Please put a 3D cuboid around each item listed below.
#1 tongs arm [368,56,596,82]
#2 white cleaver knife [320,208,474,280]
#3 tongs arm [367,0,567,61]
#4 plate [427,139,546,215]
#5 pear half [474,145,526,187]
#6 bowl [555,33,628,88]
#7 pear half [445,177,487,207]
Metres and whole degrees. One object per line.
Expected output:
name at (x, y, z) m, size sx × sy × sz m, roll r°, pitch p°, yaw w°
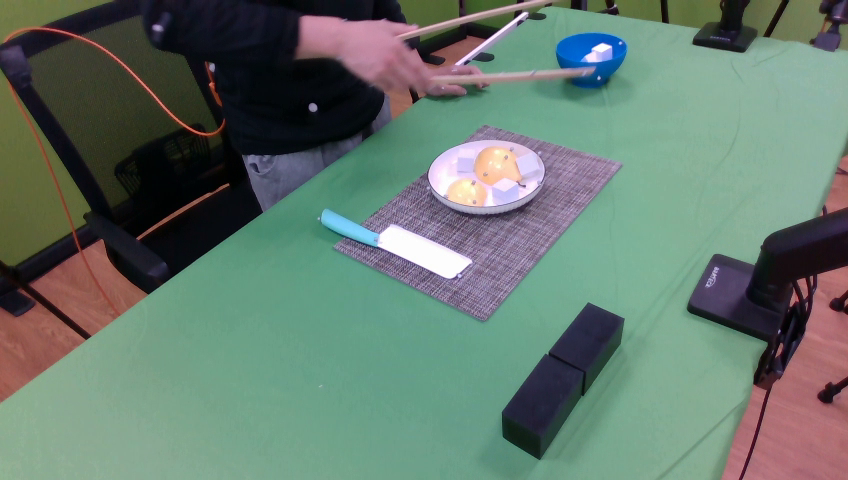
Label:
tongs arm at (0.102, -0.285, 0.988) m, size 0.386 × 0.050 × 0.026 m, roll -9°, pitch -3°, yaw -15°
white cleaver knife at (-0.053, 0.001, 0.978) m, size 0.284 × 0.021 × 0.066 m, roll 23°, pitch 40°, yaw 26°
tongs arm at (0.085, -0.357, 0.993) m, size 0.389 × 0.028 × 0.027 m, roll -20°, pitch 3°, yaw -16°
plate at (0.109, -0.107, 1.059) m, size 0.207 × 0.039 × 0.206 m, roll -4°, pitch 41°, yaw 4°
pear half at (0.140, -0.129, 1.059) m, size 0.076 × 0.056 × 0.109 m, roll -37°, pitch 53°, yaw -25°
bowl at (0.361, -0.384, 1.319) m, size 0.151 × 0.077 × 0.150 m, roll -4°, pitch 41°, yaw 4°
pear half at (0.073, -0.086, 1.032) m, size 0.070 × 0.031 × 0.087 m, roll -21°, pitch 36°, yaw -10°
